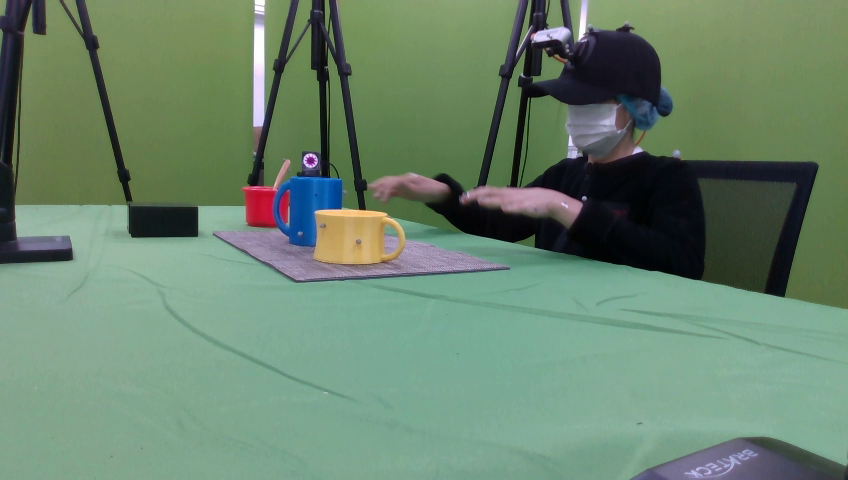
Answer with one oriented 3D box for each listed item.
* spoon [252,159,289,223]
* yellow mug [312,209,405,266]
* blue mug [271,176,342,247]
[{"bbox_3d":[-0.307,-0.104,1.244,0.041,0.022,0.193,2,51,11],"label":"spoon"},{"bbox_3d":[-0.086,-0.004,0.817,0.130,0.064,0.100,6,8,18],"label":"yellow mug"},{"bbox_3d":[-0.190,-0.047,0.963,0.116,0.106,0.082,4,7,13],"label":"blue mug"}]
